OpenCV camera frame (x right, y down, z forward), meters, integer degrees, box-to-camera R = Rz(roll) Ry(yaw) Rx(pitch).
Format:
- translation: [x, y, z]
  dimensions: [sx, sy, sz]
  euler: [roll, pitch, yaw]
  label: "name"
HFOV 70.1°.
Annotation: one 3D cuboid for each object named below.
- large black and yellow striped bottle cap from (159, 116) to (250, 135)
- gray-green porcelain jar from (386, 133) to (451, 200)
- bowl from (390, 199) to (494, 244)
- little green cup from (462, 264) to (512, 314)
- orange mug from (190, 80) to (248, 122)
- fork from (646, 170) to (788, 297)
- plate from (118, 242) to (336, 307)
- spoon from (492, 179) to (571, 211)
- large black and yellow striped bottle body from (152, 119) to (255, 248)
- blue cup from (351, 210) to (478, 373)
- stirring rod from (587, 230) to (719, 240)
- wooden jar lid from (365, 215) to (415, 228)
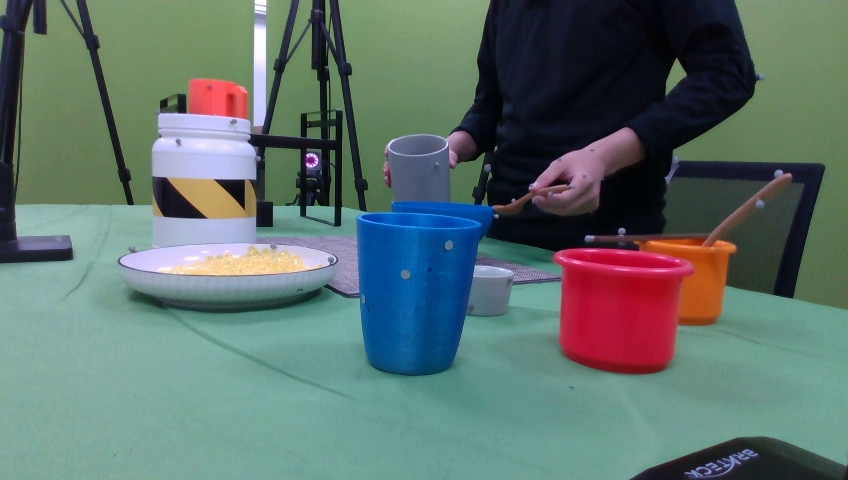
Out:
- translation: [-0.292, -0.153, 0.810]
  dimensions: [0.115, 0.019, 0.115]
  euler: [3, 9, 0]
  label: "large black and yellow striped bottle cap"
- translation: [-0.007, -0.110, 1.057]
  dimensions: [0.106, 0.126, 0.105]
  euler: [-4, 29, 2]
  label: "gray-green porcelain jar"
- translation: [0.024, -0.015, 0.871]
  dimensions: [0.151, 0.077, 0.151]
  euler: [3, 7, 0]
  label: "bowl"
- translation: [0.053, 0.047, 0.580]
  dimensions: [0.061, 0.038, 0.061]
  euler: [3, 8, 0]
  label: "little green cup"
- translation: [-0.394, -0.257, 1.173]
  dimensions: [0.126, 0.100, 0.084]
  euler: [1, 6, 25]
  label: "orange mug"
- translation: [0.256, 0.004, 0.543]
  dimensions: [0.028, 0.018, 0.207]
  euler: [3, -36, -9]
  label: "fork"
- translation: [-0.194, 0.033, 0.615]
  dimensions: [0.209, 0.038, 0.209]
  euler: [2, 7, 0]
  label: "plate"
- translation: [0.152, -0.066, 0.870]
  dimensions: [0.042, 0.021, 0.193]
  euler: [4, -11, -19]
  label: "spoon"
- translation: [-0.296, -0.070, 0.819]
  dimensions: [0.131, 0.184, 0.130]
  euler: [2, 7, 0]
  label: "large black and yellow striped bottle body"
- translation: [-0.009, 0.034, 0.414]
  dimensions: [0.093, 0.100, 0.092]
  euler: [4, 8, 0]
  label: "blue cup"
- translation: [0.226, -0.005, 0.587]
  dimensions: [0.177, 0.006, 0.014]
  euler: [-2, 9, -29]
  label: "stirring rod"
- translation: [-0.072, -0.040, 1.291]
  dimensions: [0.108, 0.020, 0.108]
  euler: [3, 8, 0]
  label: "wooden jar lid"
